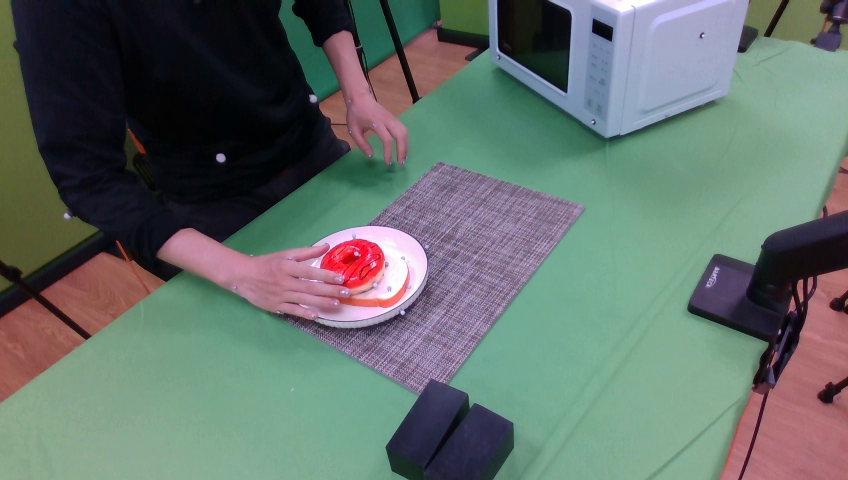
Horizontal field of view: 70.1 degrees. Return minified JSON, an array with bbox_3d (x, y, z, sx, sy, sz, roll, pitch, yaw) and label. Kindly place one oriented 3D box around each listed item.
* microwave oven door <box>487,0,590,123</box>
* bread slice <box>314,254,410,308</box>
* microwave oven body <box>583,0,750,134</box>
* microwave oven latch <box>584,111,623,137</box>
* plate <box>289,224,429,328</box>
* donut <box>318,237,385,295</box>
[{"bbox_3d":[0.232,-0.420,1.230,0.039,0.245,0.352,-22,43,-16],"label":"microwave oven door"},{"bbox_3d":[-0.086,0.057,0.901,0.131,0.019,0.104,4,43,15],"label":"bread slice"},{"bbox_3d":[0.382,-0.445,1.246,0.327,0.261,0.437,-22,42,-16],"label":"microwave oven body"},{"bbox_3d":[0.337,-0.222,1.142,0.030,0.029,0.078,-21,42,-14],"label":"microwave oven latch"},{"bbox_3d":[-0.094,0.055,0.902,0.207,0.039,0.206,-4,41,4],"label":"plate"},{"bbox_3d":[-0.105,0.037,0.880,0.099,0.048,0.098,-6,42,6],"label":"donut"}]
